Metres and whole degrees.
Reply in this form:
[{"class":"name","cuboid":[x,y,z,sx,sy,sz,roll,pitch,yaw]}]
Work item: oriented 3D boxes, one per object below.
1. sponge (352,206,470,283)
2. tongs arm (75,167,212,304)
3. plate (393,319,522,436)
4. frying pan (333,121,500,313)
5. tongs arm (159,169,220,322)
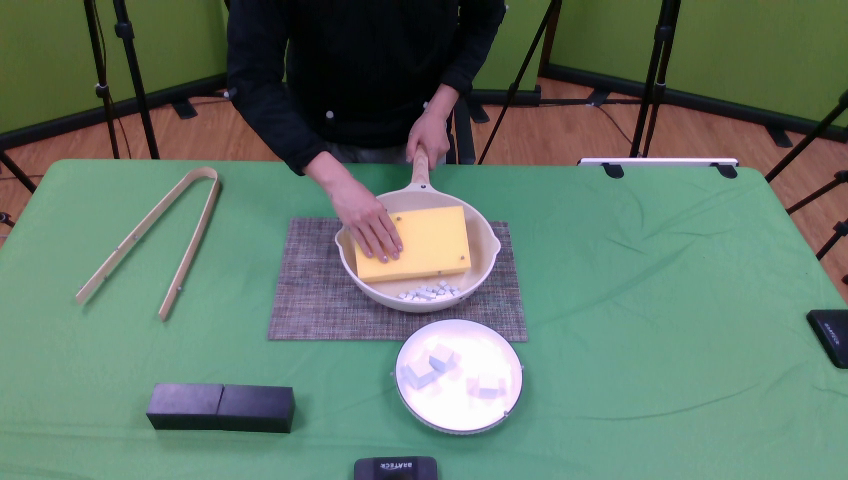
[{"class":"sponge","cuboid":[-0.026,0.010,1.116,0.207,0.061,0.118,-6,79,-9]},{"class":"tongs arm","cuboid":[-0.526,-0.021,1.167,0.051,0.026,0.383,14,46,7]},{"class":"plate","cuboid":[0.053,0.222,0.979,0.208,0.039,0.206,3,46,-2]},{"class":"frying pan","cuboid":[-0.010,-0.063,1.195,0.307,0.103,0.485,4,55,-2]},{"class":"tongs arm","cuboid":[-0.446,-0.005,1.165,0.028,0.028,0.385,2,46,0]}]
